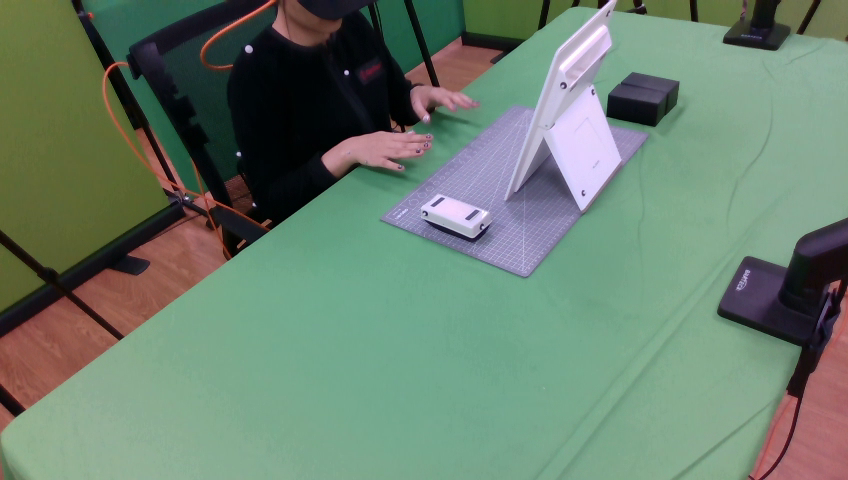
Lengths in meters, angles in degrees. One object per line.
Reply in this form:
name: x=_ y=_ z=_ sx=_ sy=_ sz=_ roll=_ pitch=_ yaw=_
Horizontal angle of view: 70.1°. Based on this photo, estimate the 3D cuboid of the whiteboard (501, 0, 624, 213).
whiteboard: x=0.271 y=-0.189 z=0.977 sx=0.143 sy=0.306 sz=0.218 roll=34 pitch=53 yaw=16

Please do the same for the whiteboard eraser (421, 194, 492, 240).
whiteboard eraser: x=0.052 y=-0.037 z=0.996 sx=0.112 sy=0.042 sz=0.056 roll=23 pitch=50 yaw=32
